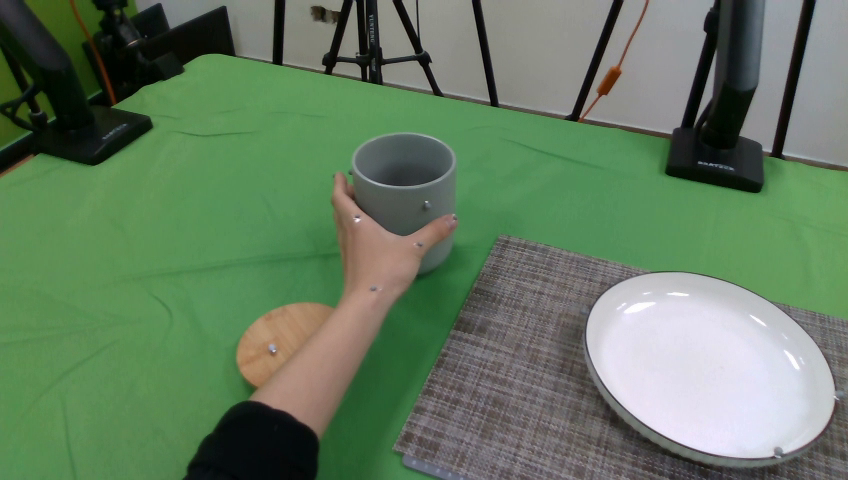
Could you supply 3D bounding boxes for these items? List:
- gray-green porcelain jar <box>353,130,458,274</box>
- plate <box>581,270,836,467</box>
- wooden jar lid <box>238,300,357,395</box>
[{"bbox_3d":[-0.019,-0.036,0.643,0.106,0.127,0.105,1,41,0],"label":"gray-green porcelain jar"},{"bbox_3d":[0.242,0.110,0.538,0.208,0.039,0.205,1,40,0],"label":"plate"},{"bbox_3d":[-0.116,0.100,0.564,0.108,0.021,0.107,2,41,-1],"label":"wooden jar lid"}]
